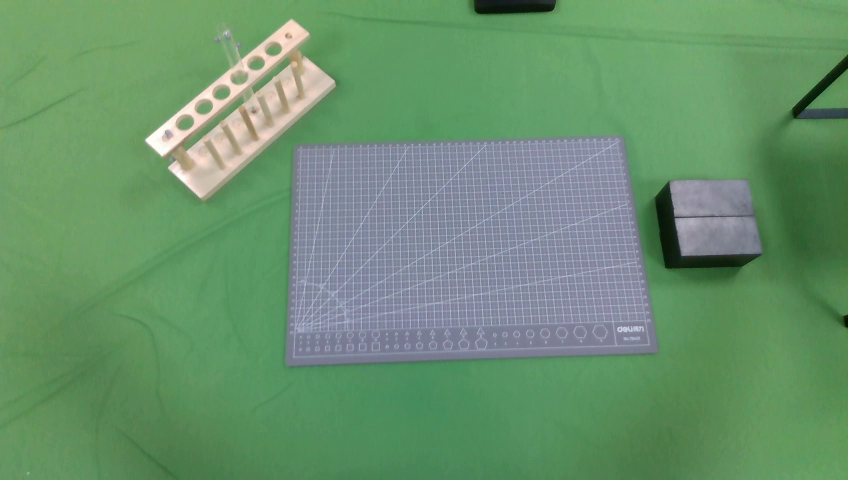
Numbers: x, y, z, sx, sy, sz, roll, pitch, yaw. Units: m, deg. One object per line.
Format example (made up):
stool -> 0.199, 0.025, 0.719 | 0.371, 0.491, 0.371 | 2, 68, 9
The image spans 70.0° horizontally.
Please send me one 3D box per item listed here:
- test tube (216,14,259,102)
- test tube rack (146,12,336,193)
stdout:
test tube -> -0.228, -0.220, 0.749 | 0.017, 0.151, 0.017 | 1, 67, -1
test tube rack -> -0.228, -0.178, 0.786 | 0.066, 0.085, 0.242 | 41, 75, 13
